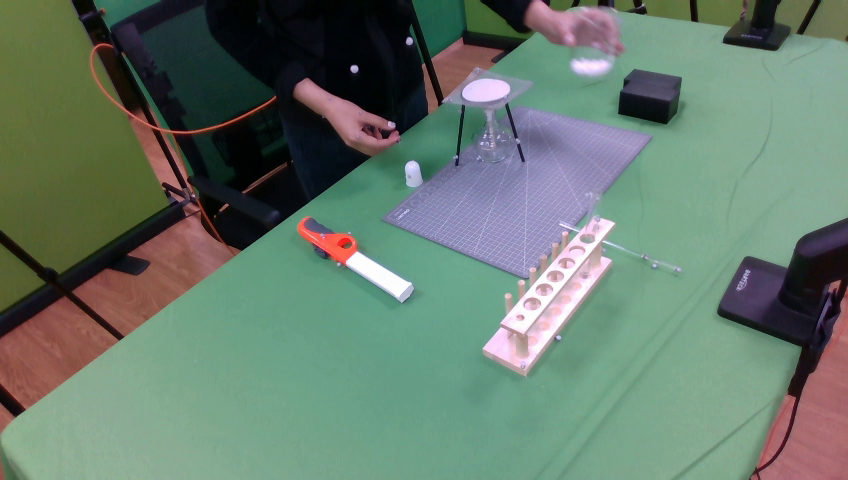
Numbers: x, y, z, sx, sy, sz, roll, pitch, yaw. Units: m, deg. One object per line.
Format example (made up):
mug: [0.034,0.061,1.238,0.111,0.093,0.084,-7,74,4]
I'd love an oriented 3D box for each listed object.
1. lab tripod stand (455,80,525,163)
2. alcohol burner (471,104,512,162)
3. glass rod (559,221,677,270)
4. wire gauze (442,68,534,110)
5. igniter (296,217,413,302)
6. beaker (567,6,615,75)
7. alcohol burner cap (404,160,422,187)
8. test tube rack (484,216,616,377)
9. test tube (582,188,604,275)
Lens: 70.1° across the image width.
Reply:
lab tripod stand: [0.120,-0.219,1.126,0.148,0.132,0.147,-4,40,4]
alcohol burner: [0.125,-0.207,1.126,0.078,0.119,0.077,-5,43,5]
glass rod: [0.292,0.007,0.927,0.198,0.008,0.008,26,52,36]
wire gauze: [0.114,-0.269,1.081,0.120,0.011,0.125,21,49,29]
igniter: [-0.121,0.025,0.970,0.274,0.025,0.057,29,63,37]
beaker: [0.279,-0.335,1.019,0.074,0.100,0.084,6,34,16]
alcohol burner cap: [-0.022,-0.125,1.118,0.034,0.048,0.033,-5,41,4]
test tube rack: [0.174,0.064,0.823,0.066,0.085,0.243,23,49,32]
test tube: [0.228,-0.007,0.821,0.017,0.151,0.017,-3,42,3]
